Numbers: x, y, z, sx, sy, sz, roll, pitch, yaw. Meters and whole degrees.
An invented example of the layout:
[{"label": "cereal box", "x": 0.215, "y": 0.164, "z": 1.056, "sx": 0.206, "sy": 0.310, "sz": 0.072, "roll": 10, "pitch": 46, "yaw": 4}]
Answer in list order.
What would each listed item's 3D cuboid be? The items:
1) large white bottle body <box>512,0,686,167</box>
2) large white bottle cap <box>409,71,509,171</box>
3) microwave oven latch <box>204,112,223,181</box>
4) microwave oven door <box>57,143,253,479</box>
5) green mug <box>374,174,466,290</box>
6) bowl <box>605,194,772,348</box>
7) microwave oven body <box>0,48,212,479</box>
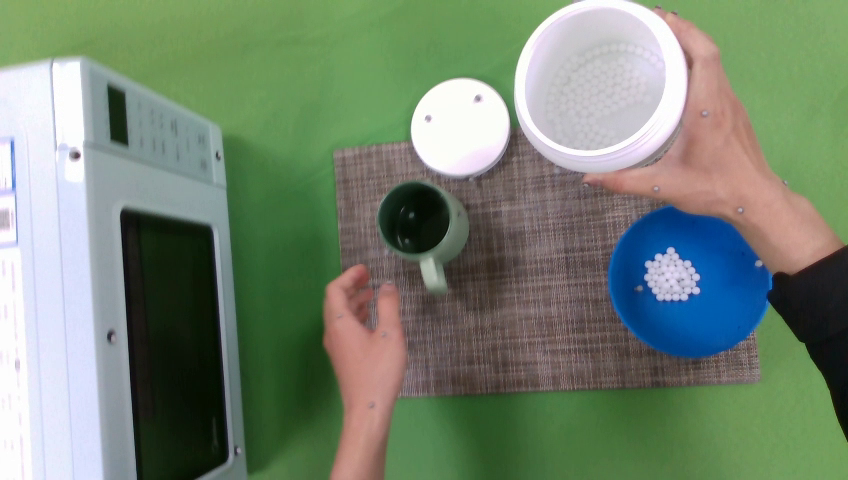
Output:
[{"label": "large white bottle body", "x": 0.147, "y": -0.127, "z": 0.506, "sx": 0.130, "sy": 0.185, "sz": 0.131, "roll": 3, "pitch": 98, "yaw": 21}, {"label": "large white bottle cap", "x": 0.040, "y": -0.136, "z": 0.694, "sx": 0.114, "sy": 0.018, "sz": 0.114, "roll": -1, "pitch": 83, "yaw": 10}, {"label": "microwave oven latch", "x": -0.260, "y": -0.110, "z": 0.719, "sx": 0.030, "sy": 0.029, "sz": 0.079, "roll": -6, "pitch": 87, "yaw": 9}, {"label": "microwave oven door", "x": -0.256, "y": 0.101, "z": 0.606, "sx": 0.039, "sy": 0.244, "sz": 0.355, "roll": -7, "pitch": 86, "yaw": 10}, {"label": "green mug", "x": 0.001, "y": -0.008, "z": 0.652, "sx": 0.092, "sy": 0.105, "sz": 0.125, "roll": -14, "pitch": 85, "yaw": 8}, {"label": "bowl", "x": 0.259, "y": 0.032, "z": 0.620, "sx": 0.151, "sy": 0.077, "sz": 0.151, "roll": -1, "pitch": 87, "yaw": 10}, {"label": "microwave oven body", "x": -0.403, "y": 0.077, "z": 0.636, "sx": 0.325, "sy": 0.261, "sz": 0.441, "roll": -7, "pitch": 87, "yaw": 9}]
